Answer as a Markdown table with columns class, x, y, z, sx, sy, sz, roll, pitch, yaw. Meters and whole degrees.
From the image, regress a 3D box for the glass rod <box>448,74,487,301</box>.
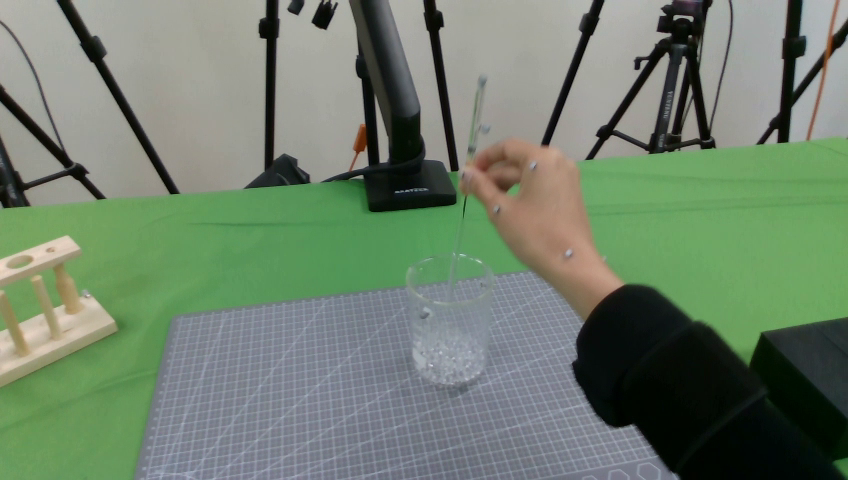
| class | x | y | z | sx | sy | sz | roll | pitch | yaw |
| --- | --- | --- | --- | --- | --- | --- | --- | --- | --- |
| glass rod | 0.033 | -0.030 | 0.472 | 0.008 | 0.201 | 0.008 | 4 | 33 | -2 |

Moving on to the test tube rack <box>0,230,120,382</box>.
| class | x | y | z | sx | sy | sz | roll | pitch | yaw |
| --- | --- | --- | --- | --- | --- | --- | --- | --- | --- |
| test tube rack | -0.411 | 0.084 | 0.528 | 0.066 | 0.086 | 0.242 | 29 | 43 | 36 |

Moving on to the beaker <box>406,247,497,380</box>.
| class | x | y | z | sx | sy | sz | roll | pitch | yaw |
| --- | --- | --- | --- | --- | --- | --- | --- | --- | --- |
| beaker | 0.021 | 0.066 | 0.534 | 0.083 | 0.101 | 0.074 | 24 | 41 | 33 |
